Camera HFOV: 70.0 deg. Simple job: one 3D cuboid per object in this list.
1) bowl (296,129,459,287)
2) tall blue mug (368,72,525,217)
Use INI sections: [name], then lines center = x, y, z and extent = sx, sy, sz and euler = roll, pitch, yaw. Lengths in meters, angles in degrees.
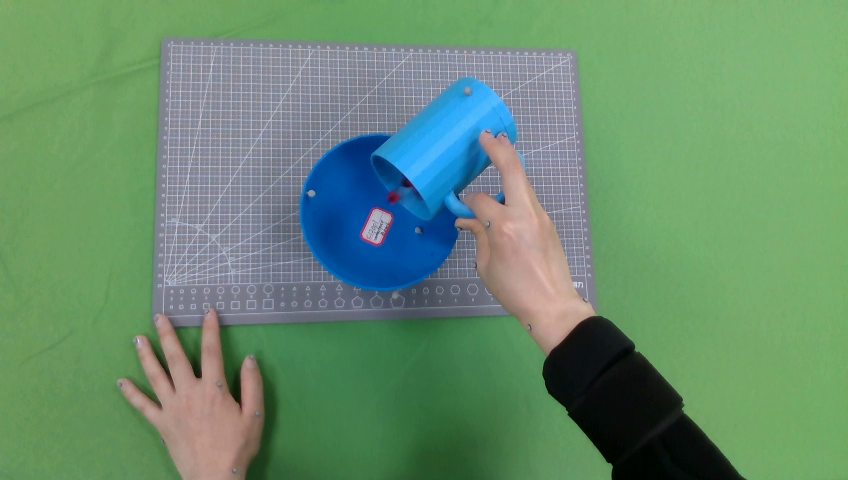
[bowl]
center = -0.046, -0.024, 0.593
extent = 0.152, 0.077, 0.151
euler = 1, 81, -8
[tall blue mug]
center = 0.026, -0.077, 0.519
extent = 0.108, 0.106, 0.078
euler = -43, 132, -13
